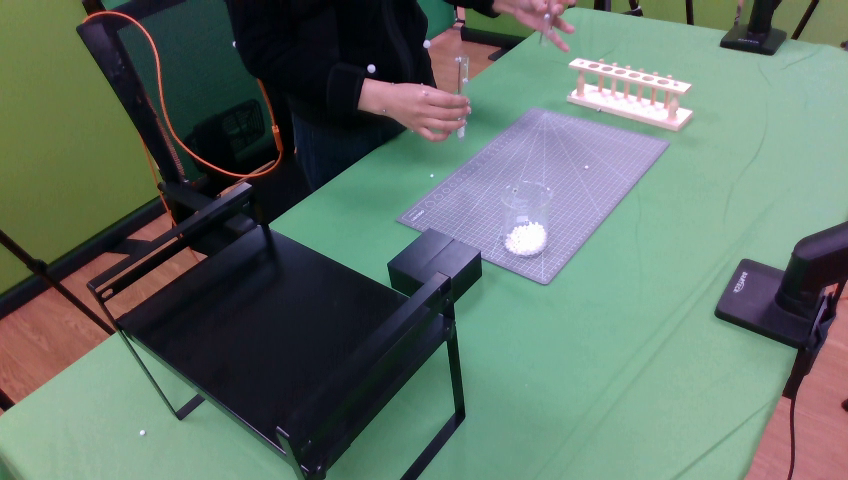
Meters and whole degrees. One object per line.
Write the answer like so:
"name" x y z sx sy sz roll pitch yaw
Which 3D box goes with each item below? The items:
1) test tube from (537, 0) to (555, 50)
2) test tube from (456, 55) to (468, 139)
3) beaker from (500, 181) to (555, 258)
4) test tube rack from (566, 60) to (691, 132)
"test tube" 0.224 -0.411 1.095 0.017 0.151 0.017 1 51 -1
"test tube" 0.064 -0.239 1.023 0.017 0.151 0.017 0 39 0
"beaker" 0.158 -0.030 0.922 0.084 0.100 0.073 -13 41 -8
"test tube rack" 0.411 -0.299 1.217 0.240 0.085 0.067 26 50 33
